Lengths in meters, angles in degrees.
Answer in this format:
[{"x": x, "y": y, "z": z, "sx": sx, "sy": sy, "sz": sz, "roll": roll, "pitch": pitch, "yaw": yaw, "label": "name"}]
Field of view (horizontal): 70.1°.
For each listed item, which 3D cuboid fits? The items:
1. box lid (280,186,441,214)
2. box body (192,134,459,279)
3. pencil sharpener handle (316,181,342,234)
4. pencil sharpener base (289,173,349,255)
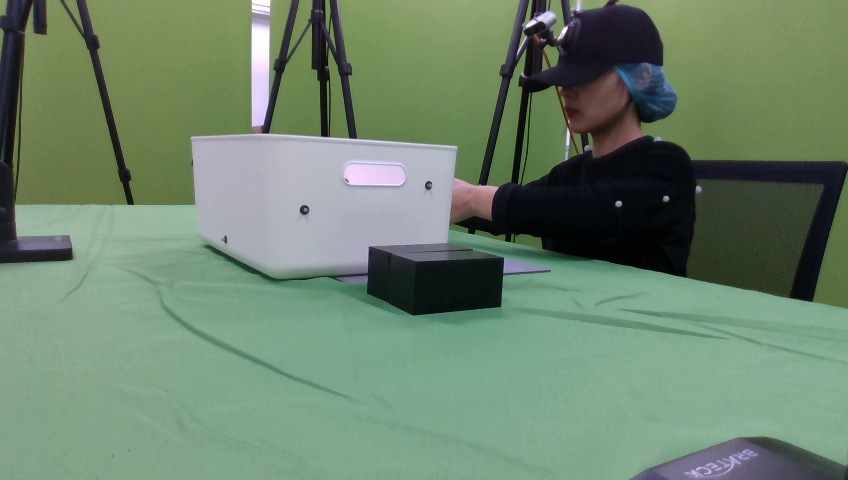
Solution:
[{"x": -0.147, "y": -0.087, "z": 1.277, "sx": 0.264, "sy": 0.015, "sz": 0.370, "roll": -7, "pitch": 11, "yaw": -22, "label": "box lid"}, {"x": -0.154, "y": -0.059, "z": 0.840, "sx": 0.255, "sy": 0.160, "sz": 0.362, "roll": -2, "pitch": 9, "yaw": -33, "label": "box body"}, {"x": -0.119, "y": -0.042, "z": 0.787, "sx": 0.036, "sy": 0.067, "sz": 0.030, "roll": 2, "pitch": 7, "yaw": -31, "label": "pencil sharpener handle"}, {"x": -0.145, "y": -0.037, "z": 0.832, "sx": 0.062, "sy": 0.107, "sz": 0.076, "roll": -1, "pitch": 8, "yaw": -31, "label": "pencil sharpener base"}]
